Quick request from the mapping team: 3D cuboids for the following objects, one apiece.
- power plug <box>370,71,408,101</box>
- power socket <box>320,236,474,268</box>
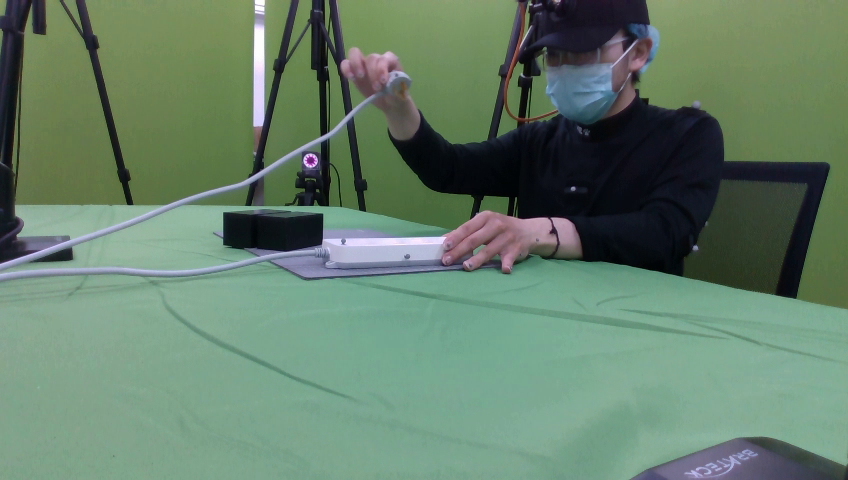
[{"bbox_3d":[-0.049,-0.225,0.922,0.035,0.052,0.072,-3,-35,-30],"label":"power plug"},{"bbox_3d":[-0.033,0.014,0.823,0.228,0.032,0.072,-2,7,-30],"label":"power socket"}]
